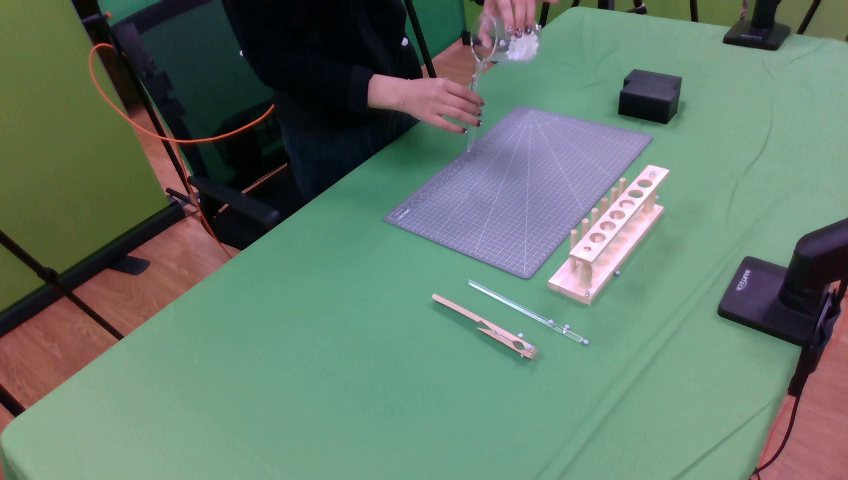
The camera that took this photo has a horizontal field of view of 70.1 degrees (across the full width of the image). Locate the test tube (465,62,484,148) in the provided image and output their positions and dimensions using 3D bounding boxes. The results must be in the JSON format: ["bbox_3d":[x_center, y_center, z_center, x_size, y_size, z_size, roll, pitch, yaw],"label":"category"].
[{"bbox_3d":[0.086,-0.231,1.046,0.017,0.150,0.017,4,28,-2],"label":"test tube"}]

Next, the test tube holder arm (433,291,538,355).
[{"bbox_3d":[0.081,0.112,0.832,0.177,0.015,0.013,29,82,36],"label":"test tube holder arm"}]

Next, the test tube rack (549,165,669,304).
[{"bbox_3d":[0.279,-0.018,0.902,0.066,0.085,0.243,24,50,33],"label":"test tube rack"}]

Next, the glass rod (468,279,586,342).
[{"bbox_3d":[0.140,0.096,0.853,0.198,0.008,0.008,27,52,35],"label":"glass rod"}]

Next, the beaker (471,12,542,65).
[{"bbox_3d":[0.139,-0.333,1.012,0.101,0.084,0.073,-8,40,-29],"label":"beaker"}]

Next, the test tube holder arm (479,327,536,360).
[{"bbox_3d":[0.110,0.134,0.805,0.087,0.015,0.010,29,83,36],"label":"test tube holder arm"}]
